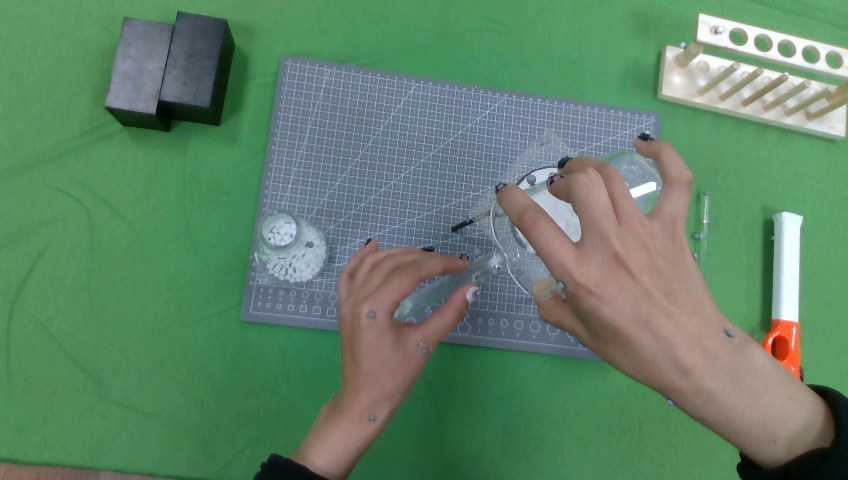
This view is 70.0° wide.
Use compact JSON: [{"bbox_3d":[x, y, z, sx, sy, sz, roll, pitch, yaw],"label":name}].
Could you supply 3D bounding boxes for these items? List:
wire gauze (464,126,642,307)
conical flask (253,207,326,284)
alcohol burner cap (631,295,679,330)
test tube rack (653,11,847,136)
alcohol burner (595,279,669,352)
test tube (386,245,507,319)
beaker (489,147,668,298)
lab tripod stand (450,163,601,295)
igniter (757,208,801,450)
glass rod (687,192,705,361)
[{"bbox_3d":[0.118,-0.025,0.553,0.125,0.011,0.121,44,79,2],"label":"wire gauze"},{"bbox_3d":[-0.136,0.000,0.589,0.075,0.122,0.075,1,80,-7],"label":"conical flask"},{"bbox_3d":[0.229,0.069,0.594,0.034,0.048,0.033,3,74,-10],"label":"alcohol burner cap"},{"bbox_3d":[0.408,-0.192,0.716,0.243,0.085,0.066,11,79,-5],"label":"test tube rack"},{"bbox_3d":[0.224,0.077,0.629,0.078,0.119,0.077,1,79,-4],"label":"alcohol burner"},{"bbox_3d":[0.013,0.037,0.488,0.017,0.150,0.017,18,58,-31],"label":"test tube"},{"bbox_3d":[0.104,-0.014,0.410,0.100,0.084,0.074,-23,86,-15],"label":"beaker"},{"bbox_3d":[0.108,-0.016,0.619,0.148,0.131,0.148,1,81,-6],"label":"lab tripod stand"},{"bbox_3d":[0.409,0.099,0.696,0.057,0.025,0.275,11,79,-16],"label":"igniter"},{"bbox_3d":[0.316,0.041,0.704,0.008,0.008,0.199,9,82,-6],"label":"glass rod"}]
